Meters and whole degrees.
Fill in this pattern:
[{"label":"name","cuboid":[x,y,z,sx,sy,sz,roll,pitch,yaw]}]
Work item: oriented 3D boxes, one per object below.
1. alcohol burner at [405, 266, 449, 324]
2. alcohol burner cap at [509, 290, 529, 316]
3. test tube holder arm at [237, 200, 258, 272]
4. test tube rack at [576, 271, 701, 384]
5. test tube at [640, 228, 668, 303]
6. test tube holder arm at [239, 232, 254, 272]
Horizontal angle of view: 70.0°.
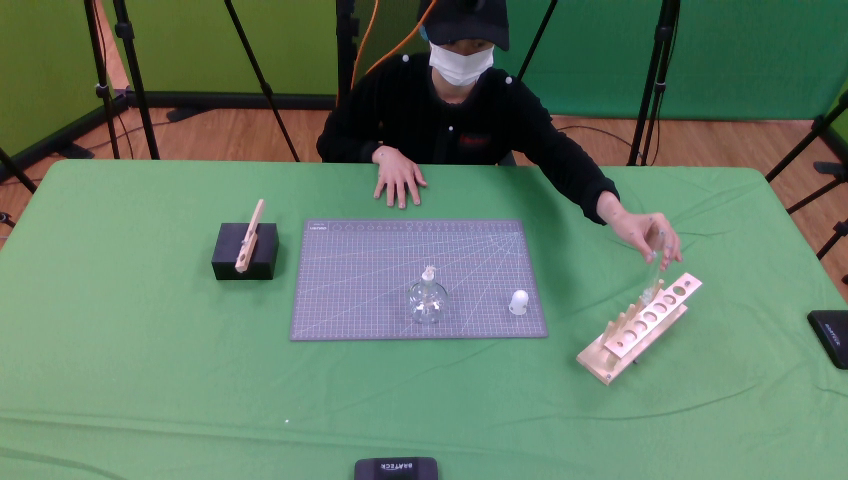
[{"label":"alcohol burner","cuboid":[0.005,0.089,1.043,0.078,0.120,0.077,1,45,-1]},{"label":"alcohol burner cap","cuboid":[0.171,0.110,1.086,0.034,0.048,0.033,2,45,-1]},{"label":"test tube holder arm","cuboid":[-0.325,-0.012,1.120,0.013,0.015,0.177,1,45,-6]},{"label":"test tube rack","cuboid":[0.373,0.138,1.047,0.242,0.085,0.066,-31,56,-29]},{"label":"test tube","cuboid":[0.358,0.043,0.947,0.017,0.151,0.017,-2,39,2]},{"label":"test tube holder arm","cuboid":[-0.318,0.020,1.089,0.010,0.015,0.087,3,45,-4]}]
